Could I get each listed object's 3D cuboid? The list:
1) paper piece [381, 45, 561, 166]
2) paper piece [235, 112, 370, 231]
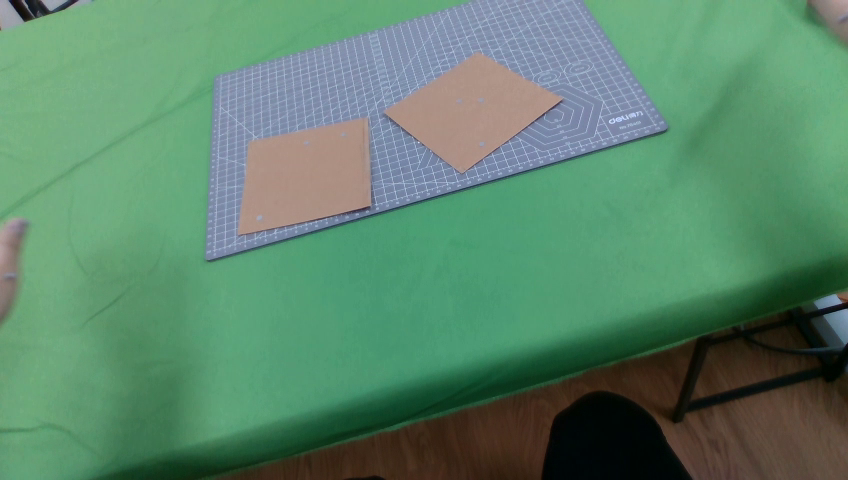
[{"bbox_3d":[0.046,-0.145,0.626,0.135,0.004,0.134,-37,54,-15],"label":"paper piece"},{"bbox_3d":[-0.122,-0.074,0.616,0.138,0.009,0.134,-11,49,6],"label":"paper piece"}]
